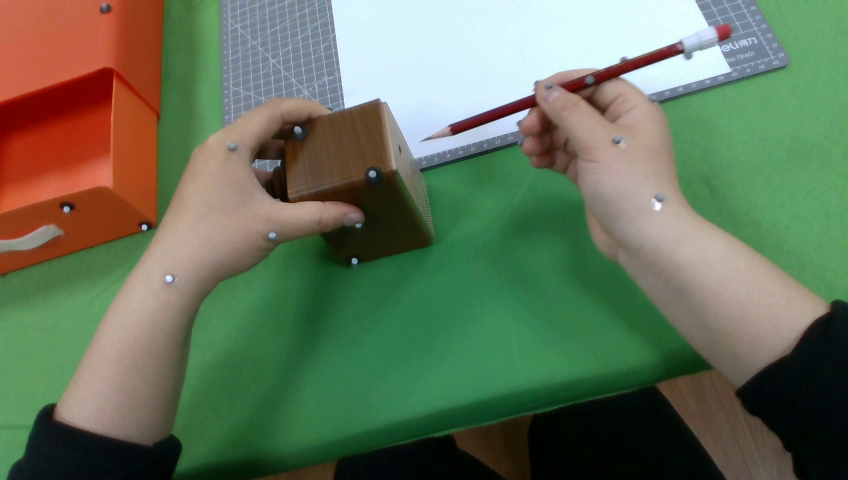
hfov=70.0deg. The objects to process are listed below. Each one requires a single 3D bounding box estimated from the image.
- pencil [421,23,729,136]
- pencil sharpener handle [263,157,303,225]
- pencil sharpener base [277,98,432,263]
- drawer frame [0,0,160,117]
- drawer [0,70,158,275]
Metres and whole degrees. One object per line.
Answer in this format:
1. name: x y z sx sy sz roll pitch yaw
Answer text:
1. pencil: 0.089 -0.096 0.376 0.194 0.012 0.012 -18 62 9
2. pencil sharpener handle: -0.098 -0.029 0.416 0.030 0.068 0.035 -15 67 9
3. pencil sharpener base: -0.045 -0.035 0.419 0.076 0.108 0.061 -15 63 9
4. drawer frame: -0.364 -0.188 0.585 0.201 0.083 0.211 -16 62 7
5. drawer: -0.340 -0.085 0.533 0.194 0.074 0.209 -17 62 7
